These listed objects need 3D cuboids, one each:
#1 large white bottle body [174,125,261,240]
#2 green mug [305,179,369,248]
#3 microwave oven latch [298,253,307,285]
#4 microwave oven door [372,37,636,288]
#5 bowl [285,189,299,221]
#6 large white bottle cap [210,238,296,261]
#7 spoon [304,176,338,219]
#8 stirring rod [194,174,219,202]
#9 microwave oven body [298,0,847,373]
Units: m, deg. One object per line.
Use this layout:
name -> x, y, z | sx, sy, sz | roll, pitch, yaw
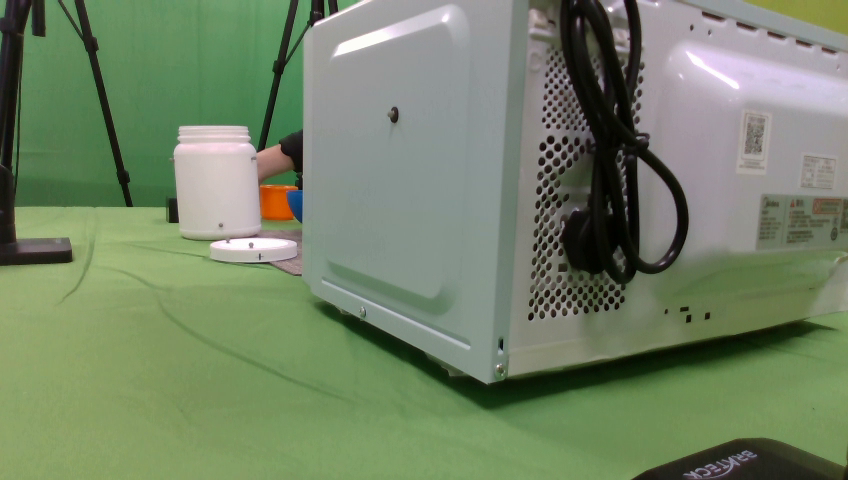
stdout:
large white bottle body -> -0.349, -0.100, 1.025 | 0.131, 0.184, 0.130 | -1, 9, 0
green mug -> -0.133, -0.044, 0.977 | 0.092, 0.105, 0.126 | 6, 8, 32
microwave oven latch -> -0.081, 0.027, 0.582 | 0.079, 0.029, 0.030 | -1, 7, -32
microwave oven door -> 0.109, -0.080, 0.686 | 0.358, 0.243, 0.039 | -2, 9, -33
bowl -> -0.180, -0.050, 1.113 | 0.151, 0.077, 0.151 | 3, 8, 0
large white bottle cap -> -0.236, 0.012, 0.839 | 0.115, 0.018, 0.115 | 1, 7, 0
spoon -> -0.201, -0.084, 1.146 | 0.042, 0.021, 0.193 | 2, 31, -24
stirring rod -> -0.464, -0.112, 1.284 | 0.014, 0.006, 0.175 | -18, 31, -25
microwave oven body -> 0.151, -0.055, 0.542 | 0.444, 0.260, 0.324 | -2, 7, -33
